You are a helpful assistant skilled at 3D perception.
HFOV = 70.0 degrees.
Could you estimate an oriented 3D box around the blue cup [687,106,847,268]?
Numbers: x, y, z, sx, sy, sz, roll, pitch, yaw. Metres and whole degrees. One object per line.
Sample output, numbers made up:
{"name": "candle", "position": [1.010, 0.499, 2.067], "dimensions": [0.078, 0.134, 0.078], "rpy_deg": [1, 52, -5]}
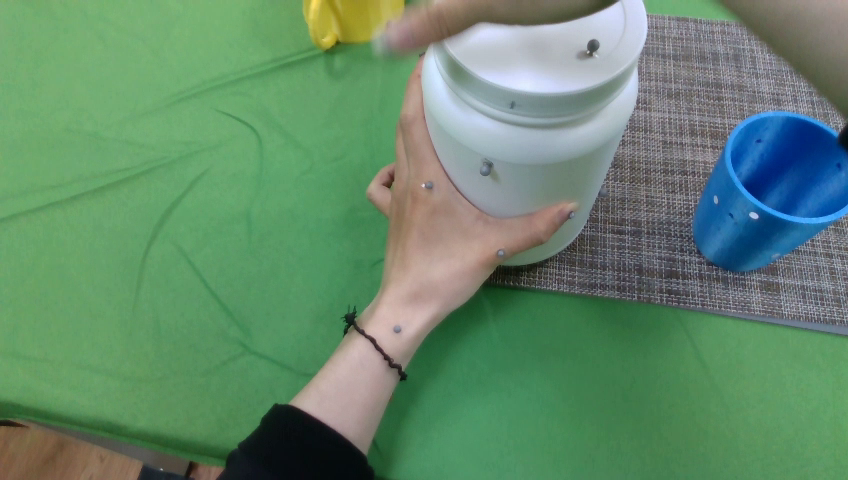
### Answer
{"name": "blue cup", "position": [0.232, -0.028, 0.425], "dimensions": [0.092, 0.101, 0.092], "rpy_deg": [-1, 62, 2]}

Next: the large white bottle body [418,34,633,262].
{"name": "large white bottle body", "position": [0.061, -0.080, 0.407], "dimensions": [0.130, 0.186, 0.129], "rpy_deg": [0, 62, 1]}

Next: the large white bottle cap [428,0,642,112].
{"name": "large white bottle cap", "position": [0.059, -0.119, 0.331], "dimensions": [0.115, 0.018, 0.114], "rpy_deg": [0, 63, 1]}

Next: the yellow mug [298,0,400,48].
{"name": "yellow mug", "position": [-0.079, -0.234, 0.560], "dimensions": [0.099, 0.064, 0.130], "rpy_deg": [18, 65, 10]}
